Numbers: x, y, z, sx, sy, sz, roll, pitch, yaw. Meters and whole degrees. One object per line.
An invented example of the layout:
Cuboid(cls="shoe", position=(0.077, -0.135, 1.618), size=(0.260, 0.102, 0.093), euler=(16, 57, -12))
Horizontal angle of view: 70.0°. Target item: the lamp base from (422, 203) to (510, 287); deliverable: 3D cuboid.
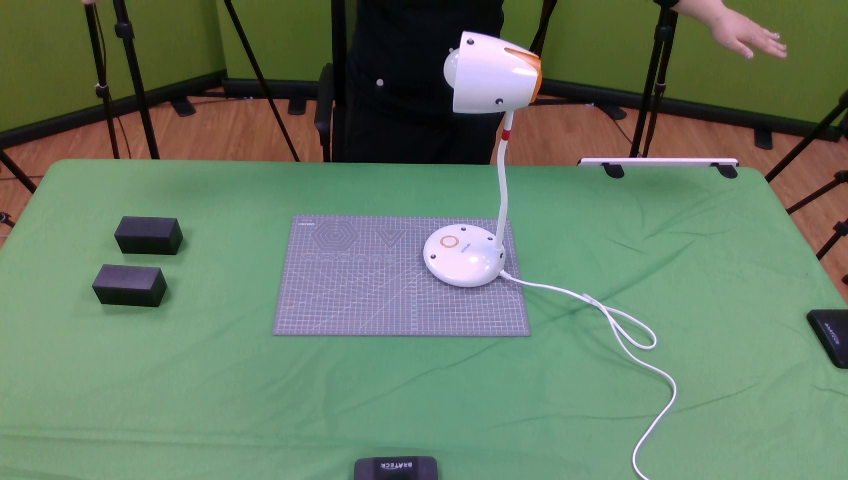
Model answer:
Cuboid(cls="lamp base", position=(0.092, -0.021, 1.111), size=(0.179, 0.181, 0.160), euler=(23, 49, 14))

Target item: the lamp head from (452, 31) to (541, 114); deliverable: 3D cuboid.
Cuboid(cls="lamp head", position=(0.102, -0.228, 0.858), size=(0.123, 0.113, 0.112), euler=(11, 46, 0))
